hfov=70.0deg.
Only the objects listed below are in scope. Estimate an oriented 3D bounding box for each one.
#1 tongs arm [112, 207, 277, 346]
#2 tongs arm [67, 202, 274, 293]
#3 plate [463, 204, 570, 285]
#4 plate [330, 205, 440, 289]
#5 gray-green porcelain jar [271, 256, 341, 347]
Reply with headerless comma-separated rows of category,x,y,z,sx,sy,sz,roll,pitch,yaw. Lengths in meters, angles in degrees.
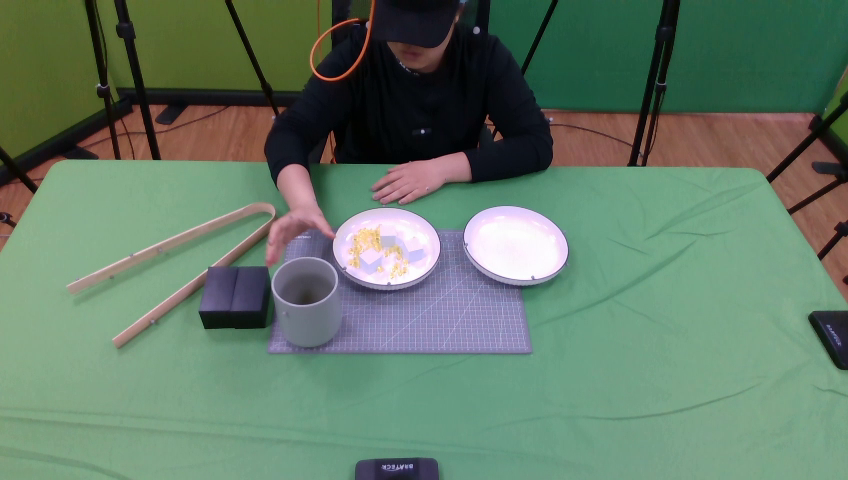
tongs arm,-0.401,0.058,1.108,0.028,0.028,0.387,26,49,23
tongs arm,-0.461,0.013,1.142,0.385,0.026,0.050,-31,56,-31
plate,0.178,0.012,1.184,0.209,0.038,0.208,3,46,-3
plate,-0.074,0.017,1.161,0.208,0.039,0.206,2,47,-2
gray-green porcelain jar,-0.193,0.107,1.004,0.106,0.127,0.105,2,46,-2
